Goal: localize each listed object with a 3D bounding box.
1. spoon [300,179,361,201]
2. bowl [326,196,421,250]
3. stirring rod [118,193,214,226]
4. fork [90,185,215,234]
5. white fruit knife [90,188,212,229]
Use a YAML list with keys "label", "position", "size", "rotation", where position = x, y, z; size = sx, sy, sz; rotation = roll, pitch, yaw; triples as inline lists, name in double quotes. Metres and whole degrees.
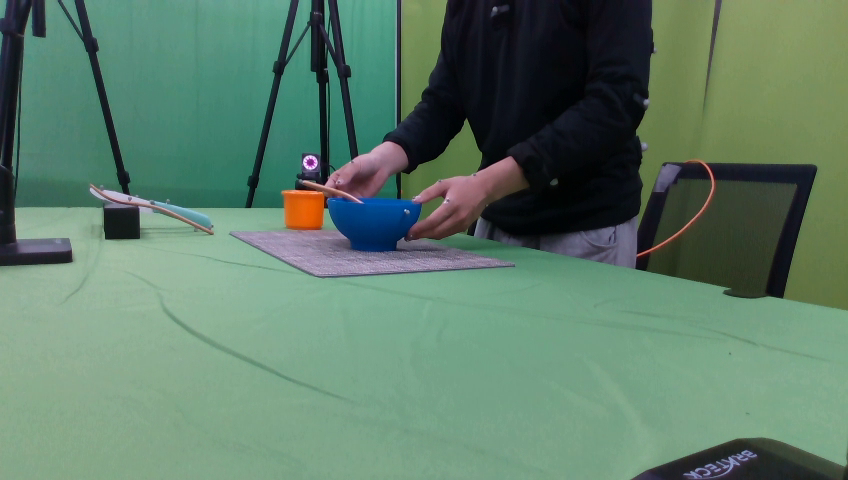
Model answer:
- label: "spoon"
  position: [-0.123, -0.068, 0.994]
  size: [0.193, 0.021, 0.042]
  rotation: [25, 9, 18]
- label: "bowl"
  position: [-0.080, -0.027, 0.958]
  size: [0.151, 0.077, 0.151]
  rotation: [2, 7, 0]
- label: "stirring rod"
  position: [-0.484, -0.056, 1.142]
  size: [0.177, 0.006, 0.014]
  rotation: [21, -5, -28]
- label: "fork"
  position: [-0.452, -0.049, 1.018]
  size: [0.208, 0.018, 0.028]
  rotation: [21, -7, -33]
- label: "white fruit knife"
  position: [-0.478, -0.058, 1.073]
  size: [0.208, 0.027, 0.016]
  rotation: [17, -4, -30]
